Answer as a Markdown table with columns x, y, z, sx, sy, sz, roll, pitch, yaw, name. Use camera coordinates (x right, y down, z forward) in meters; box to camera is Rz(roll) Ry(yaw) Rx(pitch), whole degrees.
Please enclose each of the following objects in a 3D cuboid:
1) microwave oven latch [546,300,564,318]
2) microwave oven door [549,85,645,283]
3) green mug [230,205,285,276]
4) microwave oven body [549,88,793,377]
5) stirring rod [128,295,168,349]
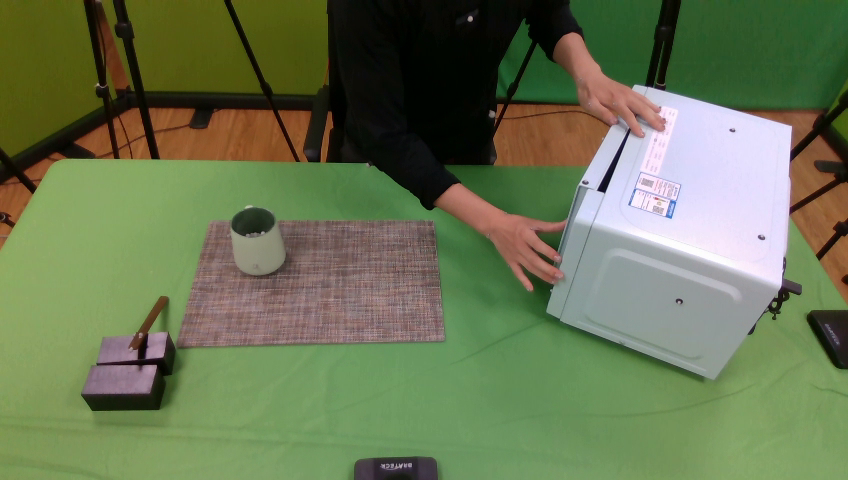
| x | y | z | sx | sy | sz | roll | pitch | yaw | name |
| --- | --- | --- | --- | --- | --- | --- | --- | --- | --- |
| 0.242 | 0.102 | 1.081 | 0.030 | 0.029 | 0.079 | 22 | 48 | 17 | microwave oven latch |
| 0.334 | -0.110 | 1.151 | 0.039 | 0.245 | 0.355 | 23 | 49 | 17 | microwave oven door |
| -0.311 | -0.008 | 1.118 | 0.092 | 0.105 | 0.124 | -14 | 49 | -16 | green mug |
| 0.456 | -0.028 | 1.088 | 0.325 | 0.261 | 0.440 | 20 | 47 | 16 | microwave oven body |
| -0.451 | 0.131 | 0.996 | 0.014 | 0.006 | 0.175 | 9 | 21 | -10 | stirring rod |
